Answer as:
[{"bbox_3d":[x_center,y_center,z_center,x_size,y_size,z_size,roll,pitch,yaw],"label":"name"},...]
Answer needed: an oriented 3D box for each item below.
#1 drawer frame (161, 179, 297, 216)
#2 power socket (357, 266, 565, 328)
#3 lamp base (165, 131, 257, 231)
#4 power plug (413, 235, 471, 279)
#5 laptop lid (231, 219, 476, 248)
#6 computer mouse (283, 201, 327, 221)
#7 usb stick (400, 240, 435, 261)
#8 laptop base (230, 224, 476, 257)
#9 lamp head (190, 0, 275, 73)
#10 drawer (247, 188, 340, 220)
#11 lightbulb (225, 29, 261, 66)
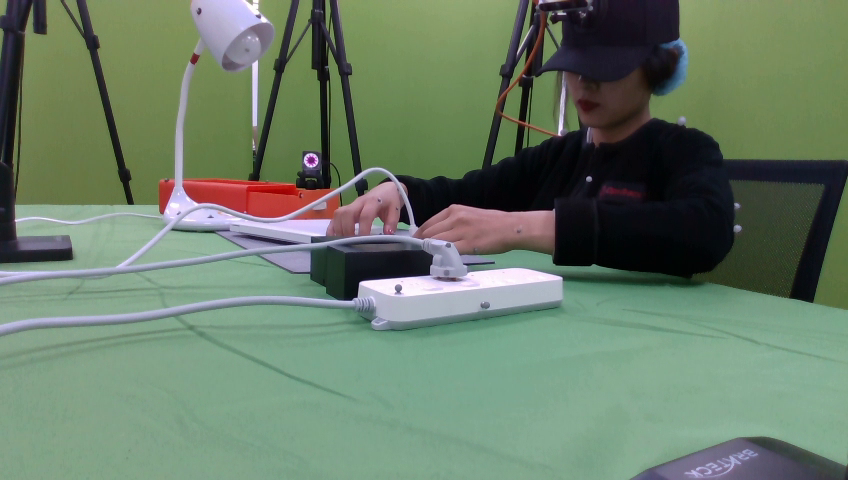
[{"bbox_3d":[-0.421,-0.089,1.329,0.213,0.082,0.202,4,8,16],"label":"drawer frame"},{"bbox_3d":[0.041,0.049,0.572,0.228,0.032,0.072,-3,8,-35],"label":"power socket"},{"bbox_3d":[-0.407,-0.112,1.119,0.179,0.180,0.161,-1,7,7],"label":"lamp base"},{"bbox_3d":[0.017,0.023,0.588,0.035,0.052,0.072,-1,8,-24],"label":"power plug"},{"bbox_3d":[-0.119,-0.016,1.000,0.355,0.013,0.243,8,7,39],"label":"laptop lid"},{"bbox_3d":[-0.254,-0.062,1.293,0.063,0.041,0.117,1,2,10],"label":"computer mouse"},{"bbox_3d":[-0.010,0.014,0.822,0.059,0.027,0.021,-12,6,38],"label":"usb stick"},{"bbox_3d":[-0.121,-0.004,1.000,0.352,0.023,0.237,8,6,38],"label":"laptop base"},{"bbox_3d":[-0.331,-0.355,1.008,0.123,0.112,0.112,43,15,6],"label":"lamp head"},{"bbox_3d":[-0.314,-0.078,1.301,0.211,0.073,0.195,4,8,15],"label":"drawer"},{"bbox_3d":[-0.317,-0.335,1.001,0.107,0.059,0.059,46,15,6],"label":"lightbulb"}]
